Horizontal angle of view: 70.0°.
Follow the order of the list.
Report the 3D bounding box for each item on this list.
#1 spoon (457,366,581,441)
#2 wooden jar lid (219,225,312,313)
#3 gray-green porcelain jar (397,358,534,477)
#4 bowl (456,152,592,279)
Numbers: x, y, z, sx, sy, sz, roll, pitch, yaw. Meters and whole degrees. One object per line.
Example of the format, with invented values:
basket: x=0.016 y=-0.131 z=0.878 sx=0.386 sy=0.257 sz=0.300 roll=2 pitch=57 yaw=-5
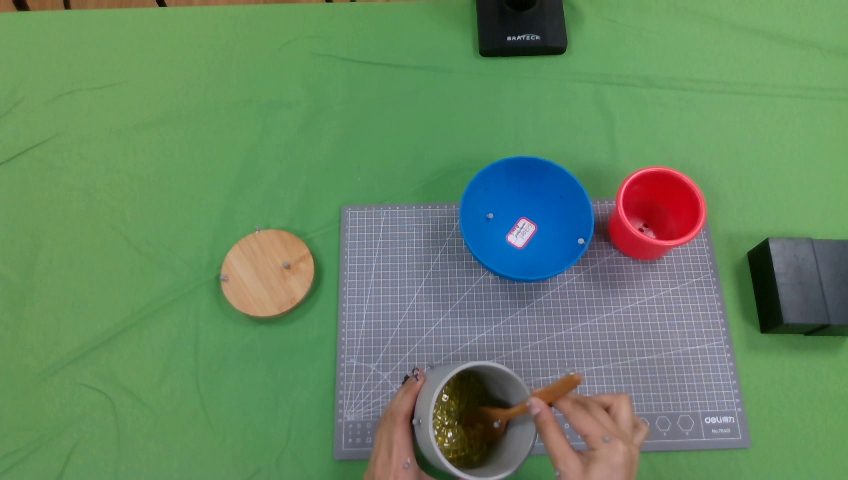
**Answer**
spoon: x=0.084 y=0.154 z=0.560 sx=0.041 sy=0.194 sz=0.021 roll=46 pitch=54 yaw=3
wooden jar lid: x=-0.186 y=0.036 z=0.718 sx=0.108 sy=0.021 sz=0.107 roll=0 pitch=69 yaw=1
gray-green porcelain jar: x=0.034 y=0.172 z=0.599 sx=0.106 sy=0.126 sz=0.105 roll=4 pitch=76 yaw=-16
bowl: x=0.111 y=-0.018 z=0.702 sx=0.151 sy=0.077 sz=0.150 roll=0 pitch=69 yaw=1
